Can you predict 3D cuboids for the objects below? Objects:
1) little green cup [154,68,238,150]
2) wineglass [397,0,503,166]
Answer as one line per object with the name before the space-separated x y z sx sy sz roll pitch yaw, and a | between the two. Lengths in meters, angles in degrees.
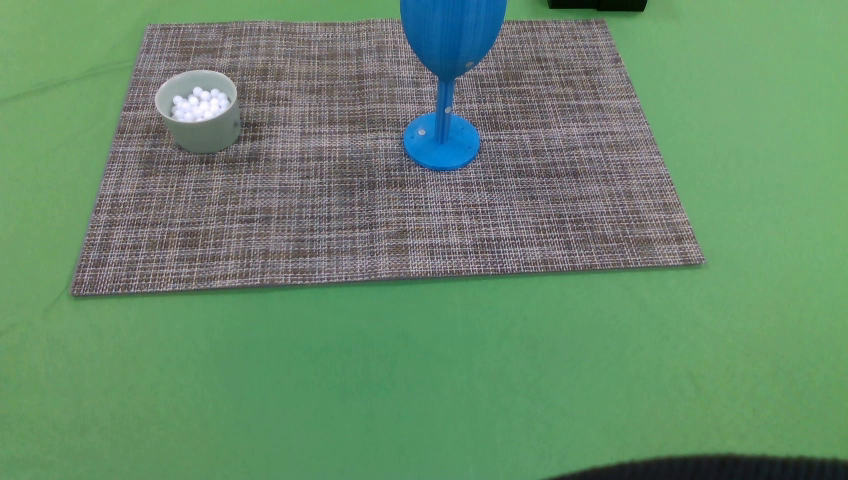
little green cup | -0.179 -0.104 0.485 0.061 0.039 0.061 2 54 -2
wineglass | 0.016 -0.136 0.436 0.074 0.173 0.073 1 55 -2
